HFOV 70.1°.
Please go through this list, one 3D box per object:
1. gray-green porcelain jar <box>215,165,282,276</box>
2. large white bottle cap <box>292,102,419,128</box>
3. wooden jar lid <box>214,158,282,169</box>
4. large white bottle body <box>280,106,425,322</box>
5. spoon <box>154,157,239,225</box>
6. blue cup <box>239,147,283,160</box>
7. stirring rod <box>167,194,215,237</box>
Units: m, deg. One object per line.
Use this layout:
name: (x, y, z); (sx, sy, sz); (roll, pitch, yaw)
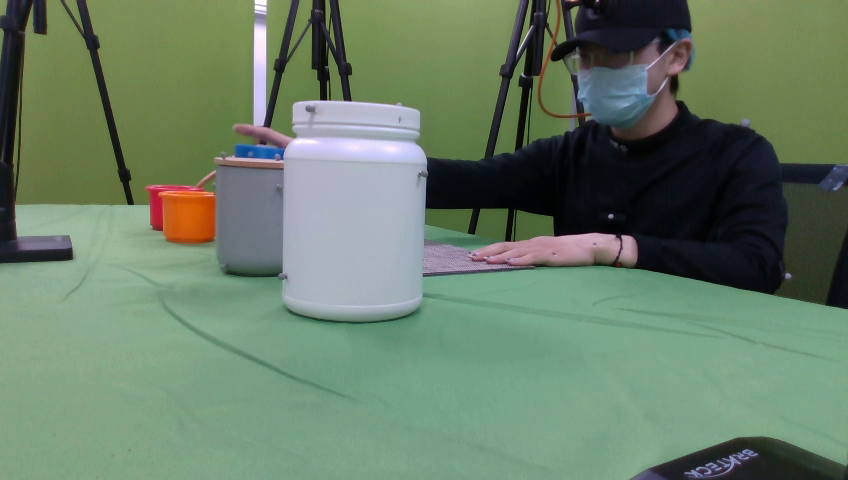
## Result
gray-green porcelain jar: (-0.195, -0.024, 0.726); (0.106, 0.126, 0.106); (3, 7, 0)
large white bottle cap: (-0.062, -0.111, 0.547); (0.115, 0.018, 0.115); (2, 8, 0)
wooden jar lid: (-0.193, -0.085, 0.719); (0.108, 0.020, 0.108); (2, 9, 0)
large white bottle body: (-0.065, -0.028, 0.559); (0.131, 0.184, 0.130); (2, 7, 0)
spoon: (-0.411, -0.092, 1.105); (0.041, 0.022, 0.194); (13, 56, 51)
blue cup: (-0.225, -0.083, 0.892); (0.093, 0.100, 0.092); (5, 8, 0)
stirring rod: (-0.341, -0.066, 0.967); (0.176, 0.006, 0.014); (-43, 25, -9)
